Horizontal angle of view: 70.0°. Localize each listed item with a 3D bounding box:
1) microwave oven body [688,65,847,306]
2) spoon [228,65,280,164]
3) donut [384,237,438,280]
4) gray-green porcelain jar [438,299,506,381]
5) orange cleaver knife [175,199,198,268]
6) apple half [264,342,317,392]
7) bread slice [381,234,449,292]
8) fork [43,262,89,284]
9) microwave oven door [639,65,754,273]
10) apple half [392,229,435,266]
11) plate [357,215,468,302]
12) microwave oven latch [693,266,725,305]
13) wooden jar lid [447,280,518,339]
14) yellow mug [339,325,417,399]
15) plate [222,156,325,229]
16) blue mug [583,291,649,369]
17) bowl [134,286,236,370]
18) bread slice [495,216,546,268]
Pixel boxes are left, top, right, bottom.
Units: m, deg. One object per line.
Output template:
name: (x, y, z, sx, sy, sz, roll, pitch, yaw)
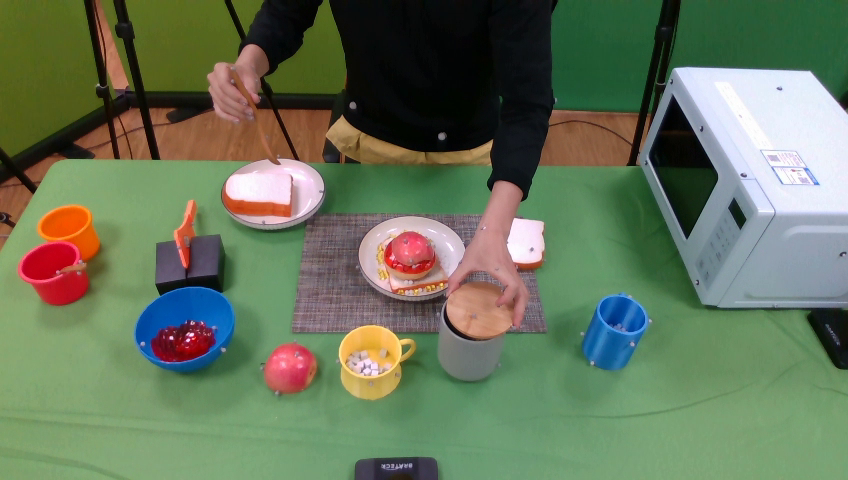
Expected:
microwave oven body: (0.669, -0.111, 1.176, 0.326, 0.261, 0.439, 0, 46, -3)
spoon: (-0.274, -0.200, 0.984, 0.021, 0.195, 0.041, -29, 46, -17)
donut: (-0.025, 0.029, 1.110, 0.099, 0.048, 0.098, 2, 47, -2)
gray-green porcelain jar: (0.076, 0.158, 0.978, 0.106, 0.127, 0.105, 2, 46, -2)
orange cleaver knife: (-0.438, -0.017, 1.138, 0.012, 0.077, 0.210, -14, 27, -7)
apple half: (-0.214, 0.198, 0.970, 0.074, 0.053, 0.080, 19, 48, 10)
bread slice: (-0.026, 0.039, 1.140, 0.107, 0.018, 0.133, -13, 49, -16)
fork: (-0.599, 0.053, 1.013, 0.207, 0.019, 0.028, -14, 30, 45)
microwave oven door: (0.522, -0.147, 1.193, 0.039, 0.245, 0.353, 0, 47, -3)
apple half: (-0.020, 0.005, 1.083, 0.081, 0.033, 0.081, 6, 48, -6)
plate: (-0.022, 0.037, 1.141, 0.208, 0.039, 0.206, 2, 46, -2)
microwave oven latch: (0.523, 0.082, 1.115, 0.030, 0.029, 0.078, 3, 46, 0)
wooden jar lid: (0.088, 0.108, 0.926, 0.108, 0.021, 0.107, 2, 48, -1)
yellow mug: (-0.072, 0.190, 0.978, 0.131, 0.064, 0.099, -17, 50, -20)
plate: (-0.308, -0.095, 1.251, 0.209, 0.038, 0.208, 3, 46, -3)
blue mug: (0.324, 0.142, 1.023, 0.082, 0.106, 0.116, 15, 47, 11)
bowl: (-0.377, 0.155, 0.981, 0.151, 0.077, 0.150, 2, 46, -2)
bread slice: (0.194, 0.002, 1.205, 0.105, 0.019, 0.131, 5, 45, 2)
